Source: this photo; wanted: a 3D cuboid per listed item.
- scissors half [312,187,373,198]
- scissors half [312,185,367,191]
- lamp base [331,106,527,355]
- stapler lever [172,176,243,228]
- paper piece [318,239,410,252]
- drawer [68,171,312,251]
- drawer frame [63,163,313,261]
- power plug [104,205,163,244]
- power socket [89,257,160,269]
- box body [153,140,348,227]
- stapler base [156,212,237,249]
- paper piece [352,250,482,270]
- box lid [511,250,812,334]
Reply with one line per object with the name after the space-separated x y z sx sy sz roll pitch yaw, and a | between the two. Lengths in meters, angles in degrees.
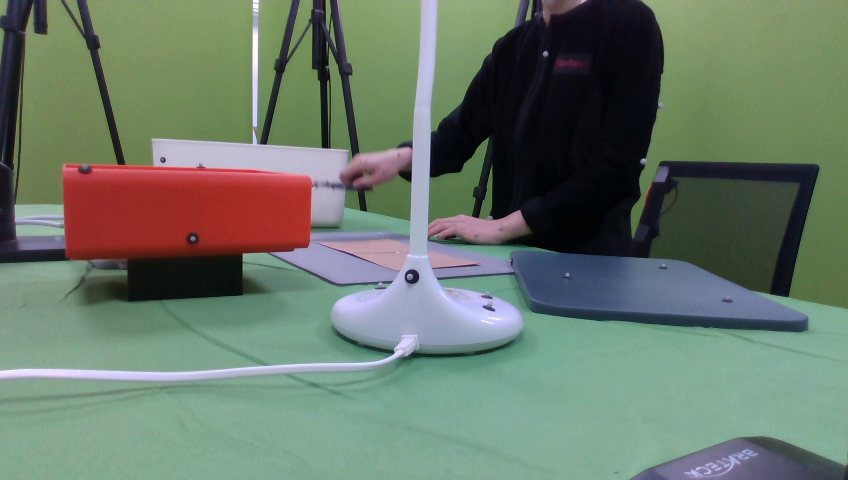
-0.170 -0.084 1.043 0.176 0.013 0.040 2 18 -23 | scissors half
-0.180 -0.090 1.060 0.176 0.013 0.040 -3 15 -38 | scissors half
0.006 -0.012 0.478 0.161 0.180 0.179 2 10 2 | lamp base
-0.217 -0.041 0.618 0.027 0.040 0.118 19 11 -2 | stapler lever
-0.083 0.008 0.951 0.136 0.004 0.134 -1 8 -31 | paper piece
-0.247 -0.036 0.629 0.213 0.073 0.193 -3 9 -30 | drawer
-0.248 -0.036 0.626 0.215 0.082 0.200 -3 9 -31 | drawer frame
-0.390 -0.021 0.815 0.073 0.052 0.035 -1 7 -27 | power plug
-0.409 0.004 0.793 0.072 0.032 0.225 -2 8 -38 | power socket
-0.357 -0.119 1.264 0.365 0.160 0.253 0 7 -18 | box body
-0.227 -0.017 0.624 0.041 0.024 0.130 19 10 -2 | stapler base
-0.013 0.026 0.842 0.139 0.008 0.135 0 11 -32 | paper piece
0.246 0.051 0.733 0.263 0.015 0.371 4 7 4 | box lid
